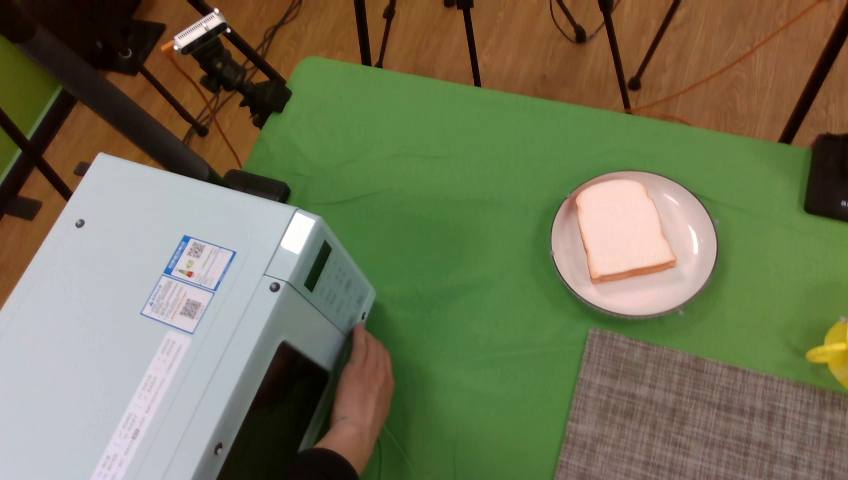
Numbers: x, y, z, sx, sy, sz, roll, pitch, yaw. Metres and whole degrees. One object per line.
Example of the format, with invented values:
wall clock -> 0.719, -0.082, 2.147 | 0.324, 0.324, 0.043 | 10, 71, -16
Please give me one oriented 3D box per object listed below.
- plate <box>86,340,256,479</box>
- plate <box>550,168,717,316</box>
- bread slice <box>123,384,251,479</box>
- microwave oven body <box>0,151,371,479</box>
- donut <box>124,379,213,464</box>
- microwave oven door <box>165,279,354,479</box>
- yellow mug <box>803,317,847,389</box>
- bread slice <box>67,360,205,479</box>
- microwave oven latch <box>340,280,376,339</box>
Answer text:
plate -> -0.301, 0.226, 0.735 | 0.209, 0.038, 0.207 | -2, 68, 7
plate -> 0.272, 0.004, 0.800 | 0.207, 0.039, 0.206 | -4, 66, 9
bread slice -> -0.299, 0.252, 0.752 | 0.104, 0.019, 0.131 | 37, 52, 22
microwave oven body -> -0.308, 0.168, 0.710 | 0.324, 0.262, 0.439 | 16, 71, 17
donut -> -0.299, 0.213, 0.713 | 0.099, 0.048, 0.098 | 1, 60, -1
microwave oven door -> -0.191, 0.240, 0.649 | 0.039, 0.246, 0.354 | 16, 70, 18
yellow mug -> 0.503, 0.125, 0.685 | 0.130, 0.064, 0.099 | -6, 64, 10
bread slice -> -0.318, 0.205, 0.688 | 0.106, 0.018, 0.134 | 27, 66, 10
microwave oven latch -> -0.092, 0.090, 0.810 | 0.030, 0.030, 0.079 | 20, 72, 18
